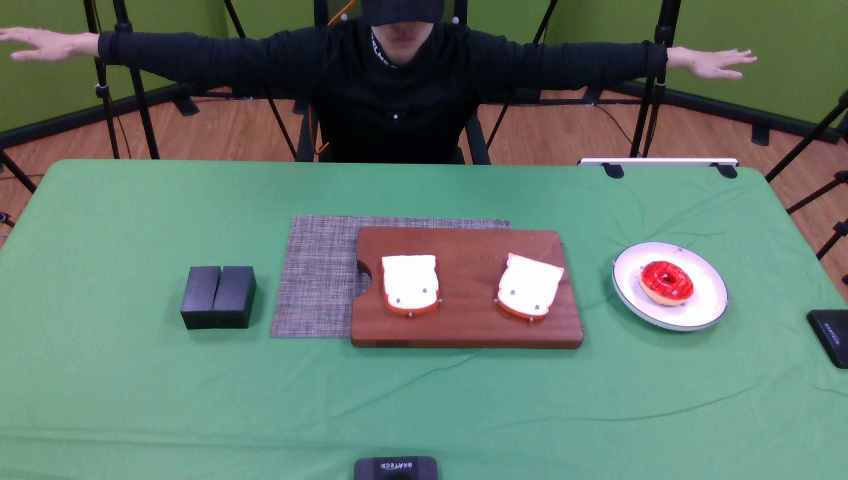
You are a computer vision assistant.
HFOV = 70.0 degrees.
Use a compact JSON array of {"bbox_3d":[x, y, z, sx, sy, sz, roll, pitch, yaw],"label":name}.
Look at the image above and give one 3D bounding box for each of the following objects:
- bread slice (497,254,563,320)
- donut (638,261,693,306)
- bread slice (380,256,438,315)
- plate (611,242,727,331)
[{"bbox_3d":[0.189,0.087,1.095,0.107,0.018,0.134,15,45,10],"label":"bread slice"},{"bbox_3d":[0.451,0.081,1.131,0.099,0.048,0.098,4,44,-3],"label":"donut"},{"bbox_3d":[-0.024,0.079,1.087,0.105,0.019,0.130,-3,45,-5],"label":"bread slice"},{"bbox_3d":[0.455,0.090,1.138,0.209,0.038,0.208,3,45,-2],"label":"plate"}]
